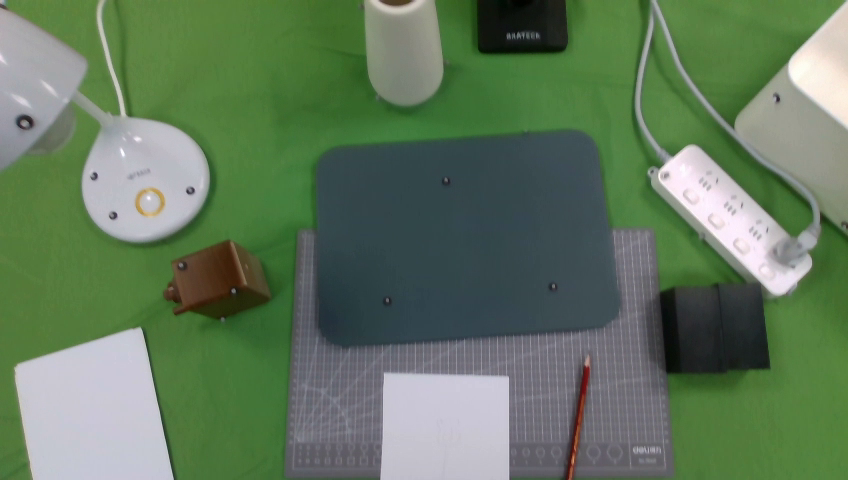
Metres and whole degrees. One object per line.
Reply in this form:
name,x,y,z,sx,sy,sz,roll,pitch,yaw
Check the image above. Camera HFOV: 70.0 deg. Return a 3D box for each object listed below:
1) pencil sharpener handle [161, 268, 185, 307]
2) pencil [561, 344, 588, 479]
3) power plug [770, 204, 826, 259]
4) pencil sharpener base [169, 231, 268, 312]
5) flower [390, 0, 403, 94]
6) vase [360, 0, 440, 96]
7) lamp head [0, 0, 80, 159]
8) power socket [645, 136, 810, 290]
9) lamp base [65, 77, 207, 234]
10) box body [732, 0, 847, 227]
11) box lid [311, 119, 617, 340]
pencil sharpener handle,-0.283,0.059,0.685,0.030,0.068,0.035,-21,66,-3
pencil,0.174,0.217,0.706,0.012,0.012,0.193,12,80,3
power plug,0.446,-0.005,0.719,0.072,0.053,0.035,-29,76,-10
pencil sharpener base,-0.237,0.040,0.701,0.077,0.107,0.061,-21,78,-3
flower,-0.021,-0.283,0.637,0.044,0.364,0.038,-24,66,-20
vase,-0.029,-0.252,0.715,0.098,0.201,0.097,0,76,0
lamp head,-0.327,-0.132,0.419,0.112,0.124,0.111,-25,43,27
power socket,0.375,-0.035,0.750,0.072,0.033,0.226,-40,80,-8
lamp base,-0.365,-0.112,0.696,0.160,0.181,0.178,-31,77,-6
box body,0.588,-0.133,0.702,0.254,0.161,0.363,-44,81,-8
box lid,0.047,-0.017,0.759,0.372,0.015,0.262,-5,78,0
